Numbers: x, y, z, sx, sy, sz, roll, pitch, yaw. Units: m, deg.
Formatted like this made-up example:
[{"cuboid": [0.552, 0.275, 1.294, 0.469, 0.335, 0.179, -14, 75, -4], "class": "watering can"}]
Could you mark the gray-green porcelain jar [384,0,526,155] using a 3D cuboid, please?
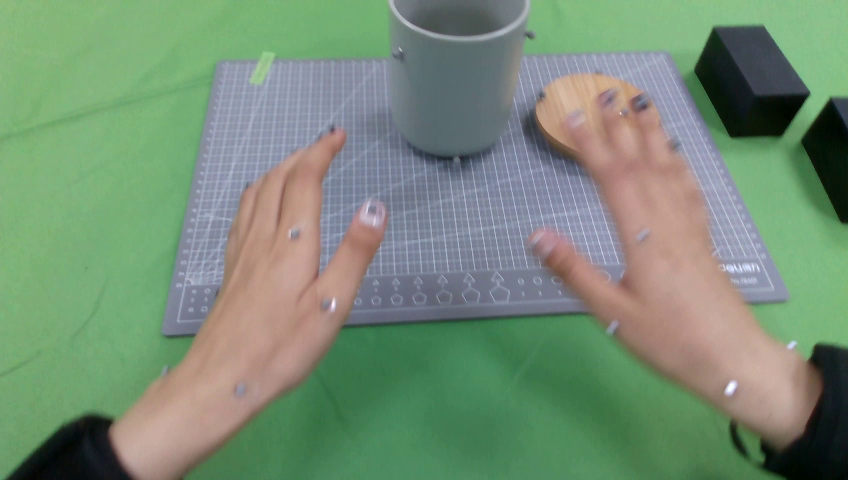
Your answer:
[{"cuboid": [0.021, -0.141, 0.493, 0.106, 0.127, 0.105, 1, 54, -1], "class": "gray-green porcelain jar"}]

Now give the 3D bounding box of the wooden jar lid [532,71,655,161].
[{"cuboid": [0.150, -0.109, 0.541, 0.108, 0.021, 0.107, 1, 53, -1], "class": "wooden jar lid"}]
